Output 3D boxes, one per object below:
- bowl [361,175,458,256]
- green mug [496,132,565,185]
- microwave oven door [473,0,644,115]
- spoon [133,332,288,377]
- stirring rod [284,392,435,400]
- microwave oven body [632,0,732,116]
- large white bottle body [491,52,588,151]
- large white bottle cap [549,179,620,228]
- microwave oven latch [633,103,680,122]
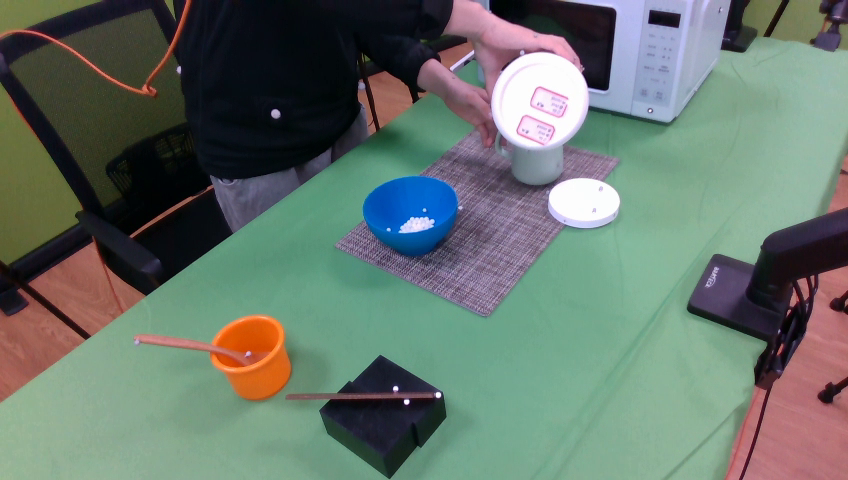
[{"bbox_3d":[-0.019,-0.028,0.955,0.151,0.077,0.150,-4,40,3],"label":"bowl"},{"bbox_3d":[0.185,-0.161,1.061,0.124,0.105,0.092,15,46,25],"label":"green mug"},{"bbox_3d":[0.257,-0.396,1.199,0.353,0.245,0.039,21,48,29],"label":"microwave oven door"},{"bbox_3d":[-0.257,0.137,0.747,0.021,0.195,0.041,-46,41,23],"label":"spoon"},{"bbox_3d":[-0.075,0.180,0.698,0.176,0.006,0.014,-2,6,6],"label":"stirring rod"},{"bbox_3d":[0.377,-0.462,1.267,0.438,0.261,0.327,21,48,30],"label":"microwave oven body"},{"bbox_3d":[0.170,-0.210,0.897,0.130,0.131,0.184,1,19,10],"label":"large white bottle body"},{"bbox_3d":[0.265,-0.062,1.001,0.115,0.018,0.114,-4,41,4],"label":"large white bottle cap"},{"bbox_3d":[0.443,-0.249,1.157,0.078,0.029,0.030,21,48,30],"label":"microwave oven latch"}]
